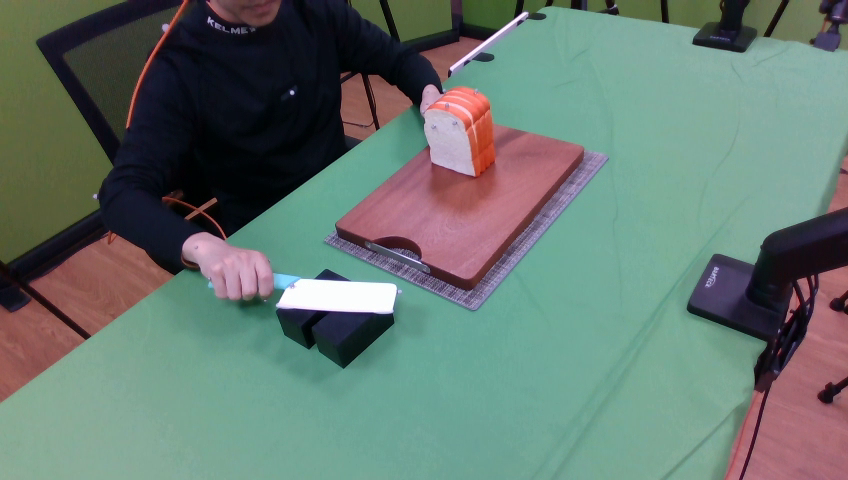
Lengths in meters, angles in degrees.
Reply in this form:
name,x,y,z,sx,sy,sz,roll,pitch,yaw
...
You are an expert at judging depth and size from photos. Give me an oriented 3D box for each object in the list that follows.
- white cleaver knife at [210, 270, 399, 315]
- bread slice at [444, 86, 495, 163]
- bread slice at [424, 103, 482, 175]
name,x,y,z,sx,sy,sz,roll,pitch,yaw
white cleaver knife,-0.173,0.072,0.846,0.285,0.021,0.066,2,40,14
bread slice,0.079,-0.204,1.067,0.106,0.135,0.018,25,50,29
bread slice,0.045,-0.175,1.039,0.104,0.132,0.019,21,54,32
